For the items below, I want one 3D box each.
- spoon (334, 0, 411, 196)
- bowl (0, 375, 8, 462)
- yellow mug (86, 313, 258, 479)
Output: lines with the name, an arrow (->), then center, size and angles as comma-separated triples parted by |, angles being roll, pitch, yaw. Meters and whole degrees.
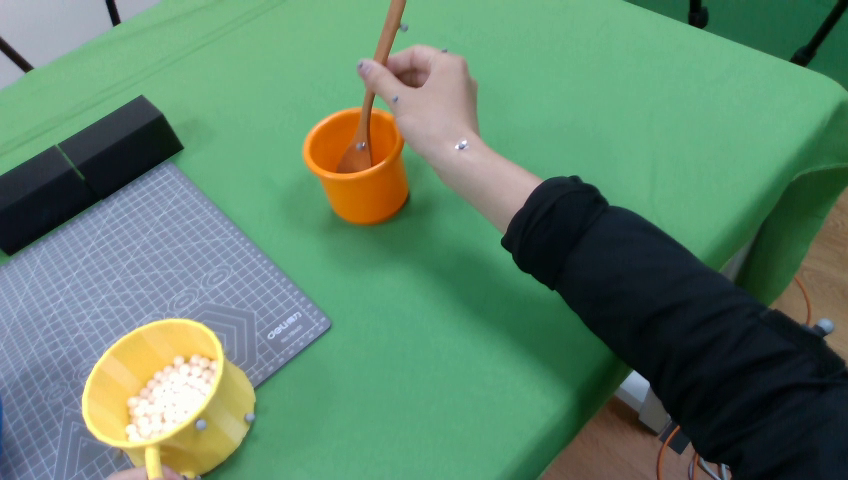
spoon -> -0.043, -0.122, 0.519 | 0.041, 0.195, 0.022 | 38, 37, 25
bowl -> -0.369, 0.149, 0.442 | 0.151, 0.077, 0.150 | -4, 52, 6
yellow mug -> -0.177, 0.123, 0.434 | 0.100, 0.064, 0.129 | -16, 50, -3
